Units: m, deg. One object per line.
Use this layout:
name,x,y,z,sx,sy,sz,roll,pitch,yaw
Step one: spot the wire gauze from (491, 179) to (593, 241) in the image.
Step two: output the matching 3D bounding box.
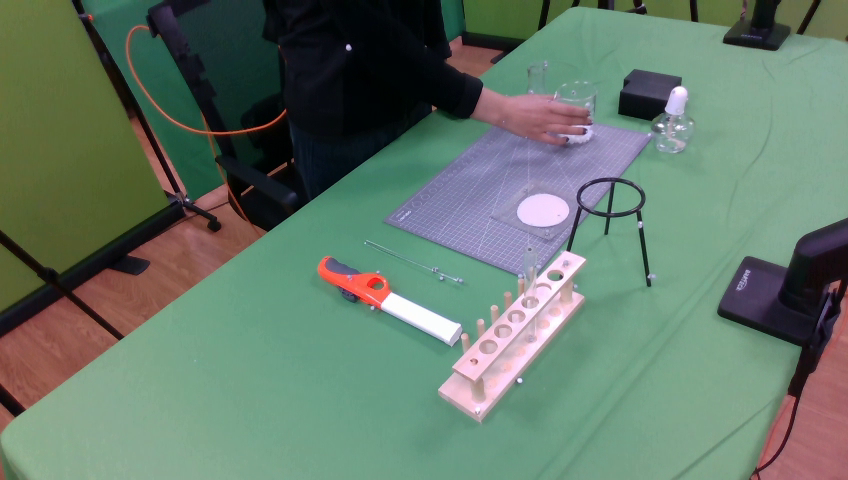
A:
wire gauze,0.198,-0.051,1.014,0.125,0.011,0.120,-38,48,-27

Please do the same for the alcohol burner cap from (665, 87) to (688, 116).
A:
alcohol burner cap,0.445,-0.244,1.060,0.034,0.048,0.033,-2,45,3

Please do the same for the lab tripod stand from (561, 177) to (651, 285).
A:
lab tripod stand,0.263,-0.014,0.864,0.148,0.132,0.147,-7,38,6

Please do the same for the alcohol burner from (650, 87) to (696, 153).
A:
alcohol burner,0.448,-0.217,1.084,0.078,0.119,0.077,-6,38,5

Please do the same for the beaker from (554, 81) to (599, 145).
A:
beaker,0.286,-0.237,1.144,0.084,0.101,0.073,-16,40,-7

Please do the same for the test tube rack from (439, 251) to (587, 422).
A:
test tube rack,0.118,0.111,0.780,0.066,0.085,0.243,26,51,34

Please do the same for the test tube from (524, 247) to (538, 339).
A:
test tube,0.133,0.070,0.749,0.017,0.151,0.017,-5,38,4

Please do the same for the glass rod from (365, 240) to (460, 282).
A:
glass rod,-0.022,0.032,0.961,0.198,0.008,0.008,21,49,34

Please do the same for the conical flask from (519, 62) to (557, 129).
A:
conical flask,0.225,-0.287,1.199,0.075,0.122,0.075,-6,40,5

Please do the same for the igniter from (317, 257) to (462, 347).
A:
igniter,-0.061,0.086,0.891,0.274,0.025,0.057,23,59,33
